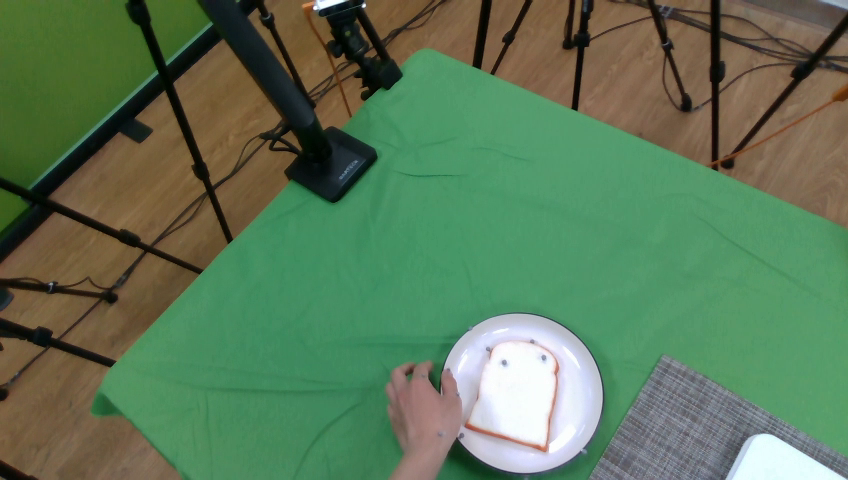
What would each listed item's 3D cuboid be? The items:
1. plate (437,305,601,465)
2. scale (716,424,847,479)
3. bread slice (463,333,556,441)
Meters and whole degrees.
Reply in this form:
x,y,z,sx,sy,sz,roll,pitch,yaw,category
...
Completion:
x,y,z,sx,sy,sz,roll,pitch,yaw,category
0.121,0.185,0.787,0.209,0.038,0.207,-4,61,7,plate
0.389,0.320,0.668,0.147,0.032,0.200,31,70,23,scale
0.116,0.184,0.789,0.104,0.019,0.130,11,62,15,bread slice
